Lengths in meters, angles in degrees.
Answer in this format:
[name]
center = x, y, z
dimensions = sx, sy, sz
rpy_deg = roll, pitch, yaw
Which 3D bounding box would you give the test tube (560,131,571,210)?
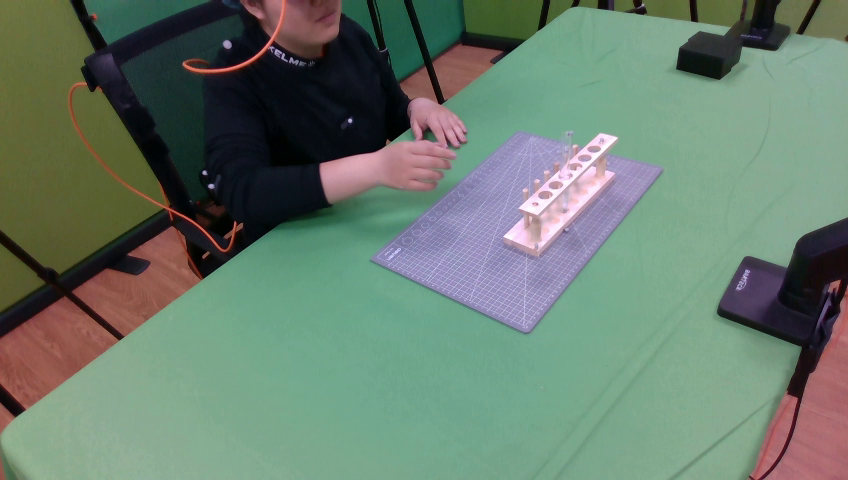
[test tube]
center = 0.219, -0.103, 0.933
dimensions = 0.017, 0.151, 0.017
rpy_deg = -6, 45, 7

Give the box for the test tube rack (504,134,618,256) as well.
[test tube rack]
center = 0.225, -0.083, 0.985
dimensions = 0.066, 0.085, 0.243
rpy_deg = 25, 50, 34
